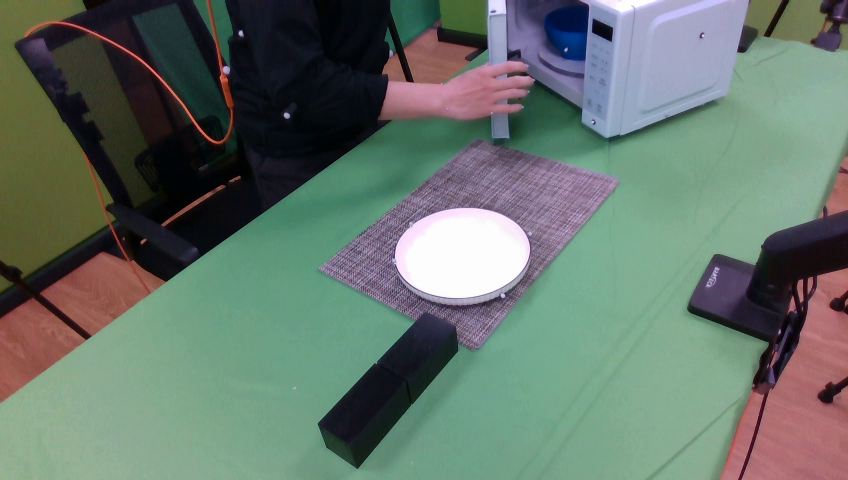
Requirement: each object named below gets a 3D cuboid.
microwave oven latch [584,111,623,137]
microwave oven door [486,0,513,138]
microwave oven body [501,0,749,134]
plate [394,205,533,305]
[{"bbox_3d":[0.337,-0.222,1.142,0.030,0.029,0.078,-21,42,-14],"label":"microwave oven latch"},{"bbox_3d":[0.149,-0.404,1.222,0.039,0.245,0.354,-3,41,7],"label":"microwave oven door"},{"bbox_3d":[0.382,-0.444,1.246,0.327,0.261,0.437,-22,42,-16],"label":"microwave oven body"},{"bbox_3d":[0.059,0.025,0.915,0.207,0.039,0.206,-4,41,4],"label":"plate"}]
